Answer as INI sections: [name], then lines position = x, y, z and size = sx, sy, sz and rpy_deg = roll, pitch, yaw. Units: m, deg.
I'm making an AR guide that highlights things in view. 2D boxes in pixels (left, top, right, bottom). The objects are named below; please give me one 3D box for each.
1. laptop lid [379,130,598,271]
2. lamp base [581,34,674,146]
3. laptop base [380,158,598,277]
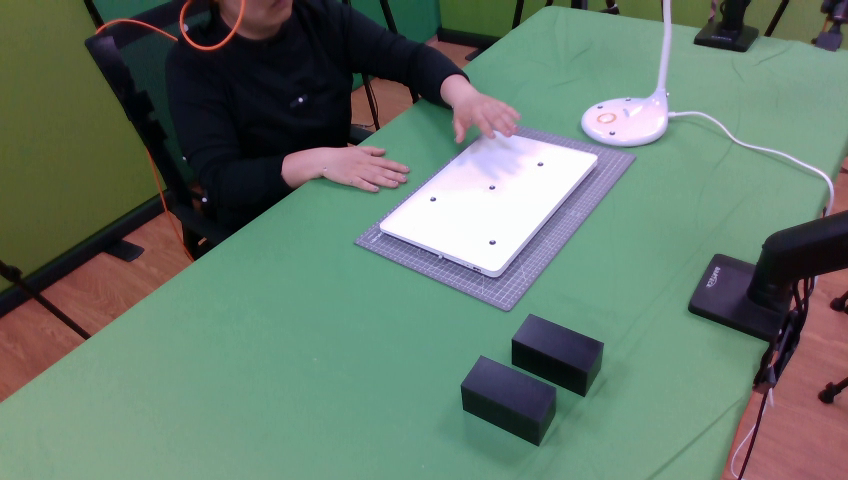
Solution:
[laptop lid]
position = 0.117, -0.087, 1.037
size = 0.240, 0.013, 0.358
rpy_deg = 22, 48, 33
[lamp base]
position = 0.392, -0.291, 1.129
size = 0.180, 0.181, 0.159
rpy_deg = -11, 41, -8
[laptop base]
position = 0.120, -0.077, 1.043
size = 0.233, 0.023, 0.355
rpy_deg = 20, 47, 32
